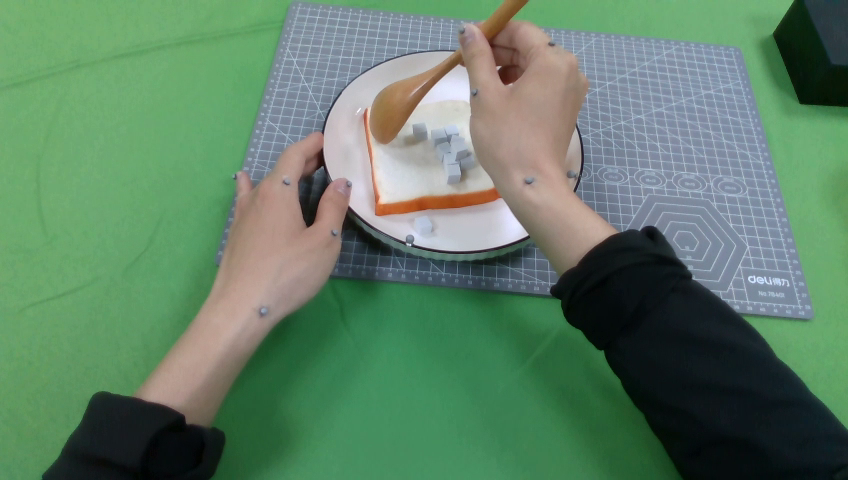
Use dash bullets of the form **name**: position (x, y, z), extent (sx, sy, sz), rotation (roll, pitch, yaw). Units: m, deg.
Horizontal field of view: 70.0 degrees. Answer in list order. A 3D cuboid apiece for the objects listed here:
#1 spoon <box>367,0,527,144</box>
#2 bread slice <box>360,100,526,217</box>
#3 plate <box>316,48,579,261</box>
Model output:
- **spoon**: position (0.019, -0.131, 0.427), extent (0.022, 0.194, 0.041), rotation (10, 54, -49)
- **bread slice**: position (0.016, -0.073, 0.494), extent (0.132, 0.019, 0.104), rotation (-8, 60, -8)
- **plate**: position (0.018, -0.070, 0.489), extent (0.209, 0.038, 0.207), rotation (2, 59, -3)
